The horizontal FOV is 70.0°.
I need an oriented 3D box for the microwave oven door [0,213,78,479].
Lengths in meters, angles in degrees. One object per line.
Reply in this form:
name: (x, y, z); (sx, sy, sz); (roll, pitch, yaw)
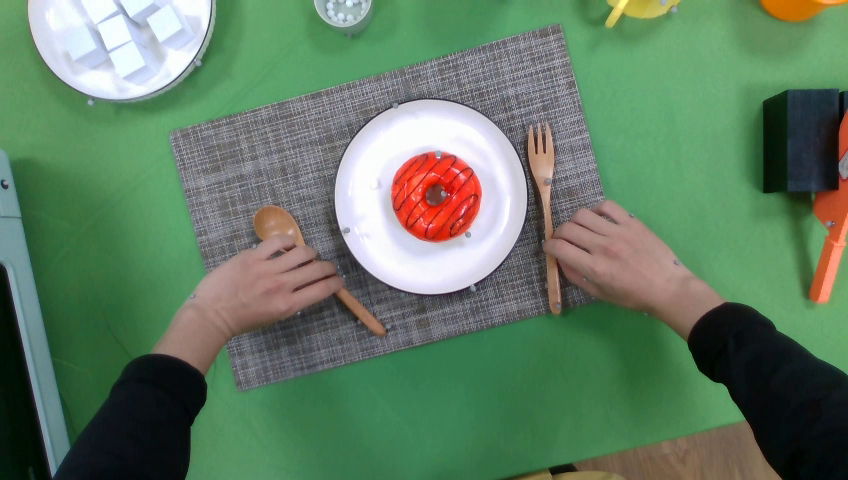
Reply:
microwave oven door: (-0.439, 0.148, 0.564); (0.039, 0.244, 0.355); (-12, 91, 3)

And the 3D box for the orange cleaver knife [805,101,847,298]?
orange cleaver knife: (0.413, -0.040, 0.610); (0.012, 0.076, 0.213); (1, 121, 5)

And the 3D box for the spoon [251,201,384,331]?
spoon: (-0.115, 0.032, 0.666); (0.193, 0.022, 0.041); (45, 70, 1)

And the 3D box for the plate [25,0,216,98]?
plate: (-0.327, -0.258, 0.665); (0.207, 0.039, 0.207); (0, 92, 3)

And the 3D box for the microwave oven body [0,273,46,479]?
microwave oven body: (-0.590, 0.135, 0.577); (0.326, 0.260, 0.441); (-12, 92, 3)

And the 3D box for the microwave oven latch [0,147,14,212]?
microwave oven latch: (-0.476, -0.070, 0.660); (0.030, 0.029, 0.079); (-10, 92, 3)

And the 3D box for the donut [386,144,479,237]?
donut: (0.009, -0.052, 0.639); (0.099, 0.048, 0.099); (0, 93, 5)

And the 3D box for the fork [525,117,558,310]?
fork: (0.130, -0.028, 0.653); (0.028, 0.018, 0.207); (-6, 90, -12)

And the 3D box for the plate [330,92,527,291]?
plate: (0.005, -0.051, 0.650); (0.209, 0.038, 0.209); (0, 92, 3)

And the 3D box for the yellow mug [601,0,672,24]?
yellow mug: (0.222, -0.279, 0.621); (0.100, 0.064, 0.131); (34, 94, 1)

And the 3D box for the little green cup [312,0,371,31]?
little green cup: (-0.086, -0.258, 0.652); (0.061, 0.038, 0.061); (0, 91, 4)
